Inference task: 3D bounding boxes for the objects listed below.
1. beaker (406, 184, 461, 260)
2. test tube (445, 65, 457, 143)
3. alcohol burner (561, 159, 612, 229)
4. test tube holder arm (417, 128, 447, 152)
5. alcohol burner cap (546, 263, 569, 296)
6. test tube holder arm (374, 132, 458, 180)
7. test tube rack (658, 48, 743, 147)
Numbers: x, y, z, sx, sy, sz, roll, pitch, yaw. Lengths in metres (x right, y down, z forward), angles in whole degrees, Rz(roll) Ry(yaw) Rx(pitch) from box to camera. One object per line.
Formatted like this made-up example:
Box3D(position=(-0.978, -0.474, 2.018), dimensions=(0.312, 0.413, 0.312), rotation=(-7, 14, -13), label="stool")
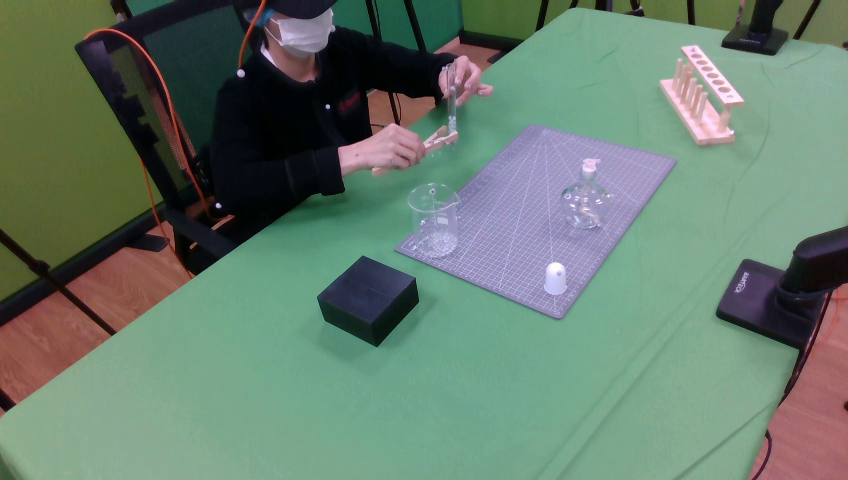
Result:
Box3D(position=(0.019, -0.026, 0.939), dimensions=(0.084, 0.101, 0.074), rotation=(1, 41, 9), label="beaker")
Box3D(position=(0.048, -0.234, 1.058), dimensions=(0.017, 0.151, 0.017), rotation=(-2, 43, 3), label="test tube")
Box3D(position=(0.257, -0.077, 0.951), dimensions=(0.078, 0.119, 0.077), rotation=(-3, 40, 3), label="alcohol burner")
Box3D(position=(0.015, -0.172, 1.071), dimensions=(0.010, 0.015, 0.088), rotation=(18, 45, 27), label="test tube holder arm")
Box3D(position=(0.191, 0.053, 0.862), dimensions=(0.034, 0.048, 0.033), rotation=(-5, 40, 4), label="alcohol burner cap")
Box3D(position=(-0.011, -0.147, 1.045), dimensions=(0.179, 0.015, 0.013), rotation=(-31, 44, -27), label="test tube holder arm")
Box3D(position=(0.532, -0.284, 1.181), dimensions=(0.067, 0.085, 0.241), rotation=(-5, 40, 4), label="test tube rack")
